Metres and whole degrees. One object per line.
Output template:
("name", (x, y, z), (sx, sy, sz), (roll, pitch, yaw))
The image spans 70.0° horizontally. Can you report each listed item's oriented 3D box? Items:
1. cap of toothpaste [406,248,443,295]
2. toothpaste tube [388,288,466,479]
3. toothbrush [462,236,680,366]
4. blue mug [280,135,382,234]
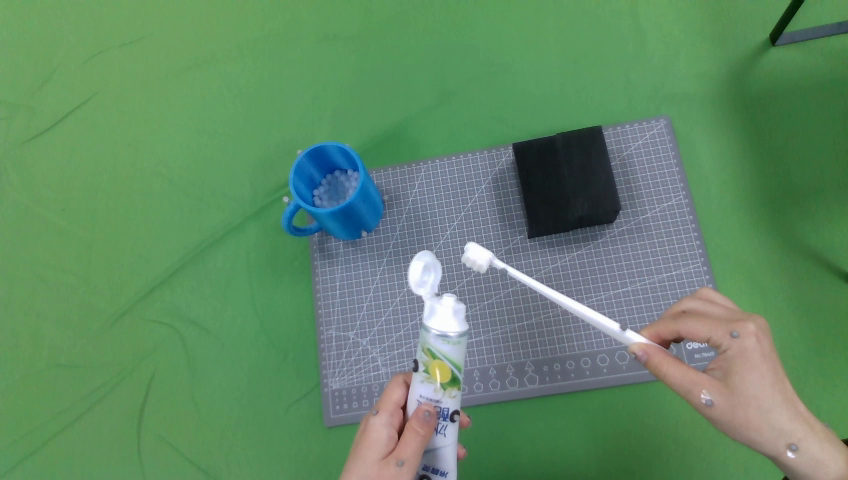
("cap of toothpaste", (0.002, 0.024, 0.454), (0.011, 0.038, 0.037), (8, 74, 42))
("toothpaste tube", (0.005, 0.115, 0.464), (0.055, 0.034, 0.165), (11, 104, 18))
("toothbrush", (0.107, 0.047, 0.444), (0.182, 0.014, 0.016), (29, 44, -1))
("blue mug", (-0.111, -0.050, 0.689), (0.116, 0.106, 0.082), (-37, 73, -3))
